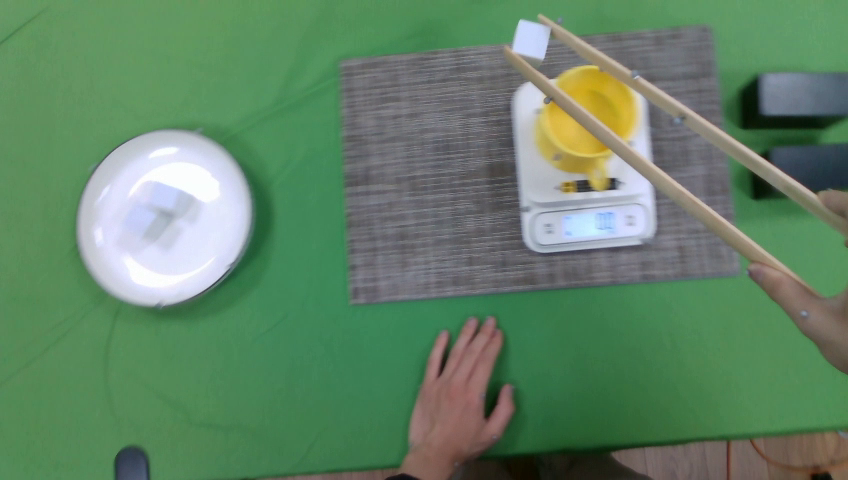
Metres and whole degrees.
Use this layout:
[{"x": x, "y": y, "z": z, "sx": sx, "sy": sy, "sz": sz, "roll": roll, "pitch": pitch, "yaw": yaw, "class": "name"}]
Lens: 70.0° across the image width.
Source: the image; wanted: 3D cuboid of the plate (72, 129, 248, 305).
[{"x": -0.308, "y": -0.026, "z": 0.722, "sx": 0.207, "sy": 0.039, "sz": 0.207, "roll": 0, "pitch": 84, "yaw": 3, "class": "plate"}]

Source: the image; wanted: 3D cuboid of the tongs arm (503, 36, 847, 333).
[{"x": 0.190, "y": -0.058, "z": 0.479, "sx": 0.028, "sy": 0.028, "sz": 0.384, "roll": -40, "pitch": 62, "yaw": -3, "class": "tongs arm"}]

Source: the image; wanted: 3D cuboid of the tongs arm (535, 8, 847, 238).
[{"x": 0.211, "y": -0.076, "z": 0.478, "sx": 0.051, "sy": 0.027, "sz": 0.381, "roll": -45, "pitch": 62, "yaw": -1, "class": "tongs arm"}]

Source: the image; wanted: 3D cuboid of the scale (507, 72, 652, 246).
[{"x": 0.179, "y": -0.098, "z": 0.700, "sx": 0.148, "sy": 0.031, "sz": 0.200, "roll": -6, "pitch": 84, "yaw": 3, "class": "scale"}]

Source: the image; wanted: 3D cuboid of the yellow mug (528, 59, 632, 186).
[{"x": 0.170, "y": -0.122, "z": 0.656, "sx": 0.100, "sy": 0.064, "sz": 0.130, "roll": -15, "pitch": 84, "yaw": 1, "class": "yellow mug"}]
